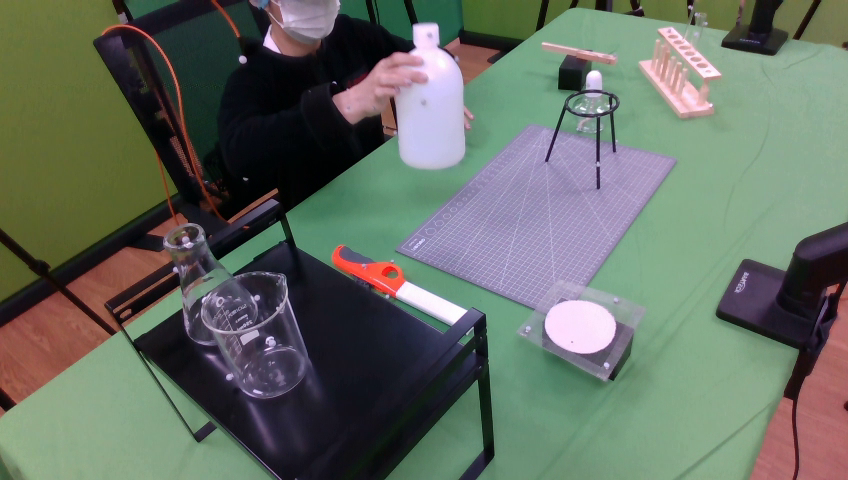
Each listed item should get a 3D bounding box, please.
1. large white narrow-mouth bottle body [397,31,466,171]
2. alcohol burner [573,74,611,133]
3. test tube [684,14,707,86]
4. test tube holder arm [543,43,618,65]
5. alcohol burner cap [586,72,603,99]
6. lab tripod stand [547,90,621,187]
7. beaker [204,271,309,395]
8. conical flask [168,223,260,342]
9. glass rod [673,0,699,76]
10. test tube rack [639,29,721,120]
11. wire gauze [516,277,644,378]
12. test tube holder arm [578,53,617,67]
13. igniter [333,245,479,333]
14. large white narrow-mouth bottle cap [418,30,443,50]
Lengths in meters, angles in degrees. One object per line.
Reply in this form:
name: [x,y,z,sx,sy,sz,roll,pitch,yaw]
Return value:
large white narrow-mouth bottle body: [0.011,-0.208,0.901,0.102,0.195,0.101,-1,27,1]
alcohol burner: [0.330,-0.270,1.176,0.078,0.119,0.077,-4,43,4]
test tube: [0.541,-0.379,1.216,0.017,0.151,0.017,-2,44,2]
test tube holder arm: [0.345,-0.413,1.341,0.177,0.015,0.013,25,50,31]
alcohol burner cap: [0.325,-0.297,1.154,0.034,0.048,0.033,-8,35,6]
lab tripod stand: [0.289,-0.184,1.062,0.148,0.132,0.147,-6,41,6]
beaker: [-0.149,0.088,0.565,0.073,0.101,0.084,21,47,29]
conical flask: [-0.219,0.040,0.614,0.075,0.122,0.075,-5,40,4]
glass rod: [0.541,-0.427,1.246,0.008,0.200,0.008,-1,48,1]
test tube rack: [0.527,-0.351,1.262,0.067,0.085,0.241,-8,40,1]
wire gauze: [0.197,0.103,0.765,0.124,0.011,0.122,23,50,32]
test tube holder arm: [0.376,-0.393,1.314,0.087,0.015,0.010,26,51,32]
igniter: [-0.038,0.067,0.905,0.274,0.025,0.057,23,60,32]
large white narrow-mouth bottle cap: [0.009,-0.284,0.861,0.038,0.024,0.037,-1,27,1]
